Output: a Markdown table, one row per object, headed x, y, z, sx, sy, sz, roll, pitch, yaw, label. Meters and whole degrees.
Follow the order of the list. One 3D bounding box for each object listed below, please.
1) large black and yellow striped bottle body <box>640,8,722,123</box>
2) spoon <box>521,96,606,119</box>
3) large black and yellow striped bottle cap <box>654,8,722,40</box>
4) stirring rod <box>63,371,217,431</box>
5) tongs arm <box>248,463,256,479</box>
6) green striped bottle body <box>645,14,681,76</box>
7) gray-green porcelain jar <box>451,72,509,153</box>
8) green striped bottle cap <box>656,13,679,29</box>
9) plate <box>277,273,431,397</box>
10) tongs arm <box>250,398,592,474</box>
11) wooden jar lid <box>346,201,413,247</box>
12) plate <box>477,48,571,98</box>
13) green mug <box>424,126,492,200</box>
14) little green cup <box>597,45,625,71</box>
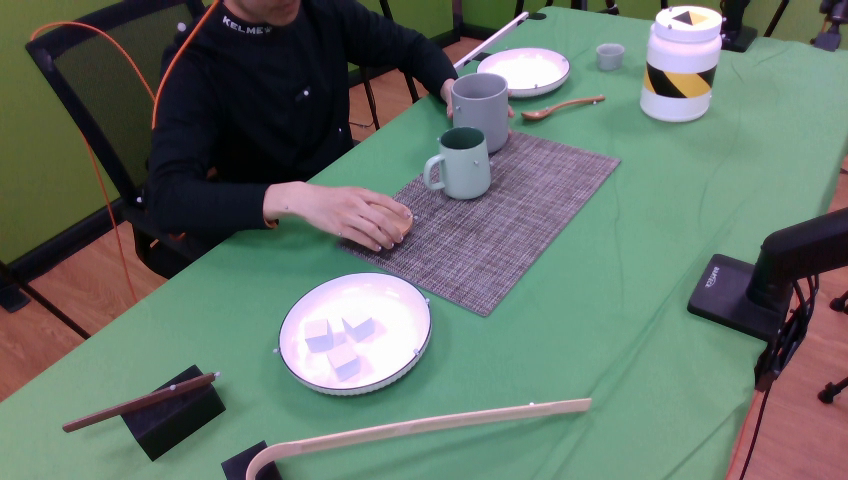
| x | y | z | sx | sy | sz | roll | pitch | yaw | label |
| --- | --- | --- | --- | --- | --- | --- | --- | --- | --- |
| 0.493 | -0.334 | 1.161 | 0.131 | 0.185 | 0.130 | -4 | 41 | 4 | large black and yellow striped bottle body |
| 0.291 | -0.277 | 1.249 | 0.194 | 0.022 | 0.041 | -17 | 24 | -11 | spoon |
| 0.483 | -0.397 | 1.108 | 0.115 | 0.019 | 0.114 | -3 | 41 | 3 | large black and yellow striped bottle cap |
| -0.337 | 0.192 | 0.723 | 0.177 | 0.014 | 0.005 | -18 | 43 | -12 | stirring rod |
| 0.012 | 0.262 | 0.615 | 0.385 | 0.026 | 0.050 | 3 | 41 | -2 | tongs arm |
| 0.520 | -0.424 | 1.312 | 0.063 | 0.120 | 0.063 | -4 | 41 | 4 | green striped bottle body |
| 0.107 | -0.235 | 1.141 | 0.106 | 0.127 | 0.105 | -4 | 41 | 4 | gray-green porcelain jar |
| 0.515 | -0.463 | 1.278 | 0.044 | 0.020 | 0.044 | -6 | 42 | 6 | green striped bottle cap |
| -0.091 | 0.129 | 0.821 | 0.207 | 0.039 | 0.206 | -4 | 40 | 4 | plate |
| 0.008 | 0.212 | 0.675 | 0.389 | 0.028 | 0.028 | -5 | 46 | -11 | tongs arm |
| -0.071 | -0.026 | 0.984 | 0.108 | 0.021 | 0.108 | -2 | 39 | 2 | wooden jar lid |
| 0.223 | -0.371 | 1.357 | 0.209 | 0.038 | 0.208 | -4 | 41 | 4 | plate |
| 0.056 | -0.126 | 1.039 | 0.126 | 0.105 | 0.091 | -26 | 44 | -19 | green mug |
| 0.423 | -0.413 | 1.375 | 0.061 | 0.039 | 0.061 | -4 | 41 | 4 | little green cup |
